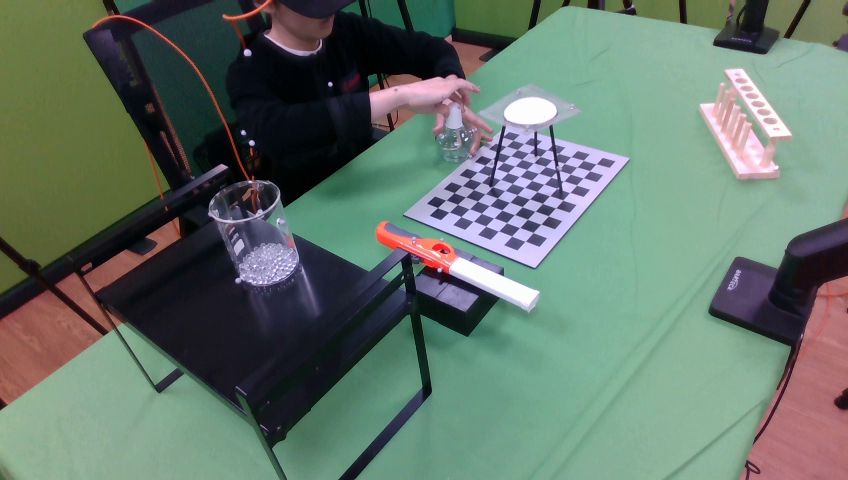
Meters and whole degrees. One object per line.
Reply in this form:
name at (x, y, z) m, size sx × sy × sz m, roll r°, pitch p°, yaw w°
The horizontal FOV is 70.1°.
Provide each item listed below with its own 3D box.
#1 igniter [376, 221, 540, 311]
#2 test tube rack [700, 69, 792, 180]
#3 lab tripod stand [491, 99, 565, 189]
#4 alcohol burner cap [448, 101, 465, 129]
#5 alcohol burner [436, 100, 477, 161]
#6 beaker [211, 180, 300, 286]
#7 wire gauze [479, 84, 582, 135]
igniter at (0.037, 0.031, 0.858) m, size 0.274 × 0.025 × 0.057 m, roll 24°, pitch 46°, yaw 29°
test tube rack at (0.571, -0.215, 1.089) m, size 0.066 × 0.085 × 0.241 m, roll -3°, pitch 41°, yaw 7°
lab tripod stand at (0.184, -0.163, 1.047) m, size 0.148 × 0.132 × 0.147 m, roll -5°, pitch 42°, yaw 5°
alcohol burner cap at (0.059, -0.234, 1.122) m, size 0.034 × 0.048 × 0.033 m, roll -3°, pitch 39°, yaw 3°
alcohol burner at (0.061, -0.210, 1.141) m, size 0.078 × 0.119 × 0.077 m, roll -3°, pitch 38°, yaw 3°
beaker at (-0.183, -0.007, 0.674) m, size 0.074 × 0.101 × 0.083 m, roll -1°, pitch 40°, yaw 7°
wire gauze at (0.176, -0.216, 1.006) m, size 0.125 × 0.011 × 0.120 m, roll -29°, pitch 46°, yaw -22°
